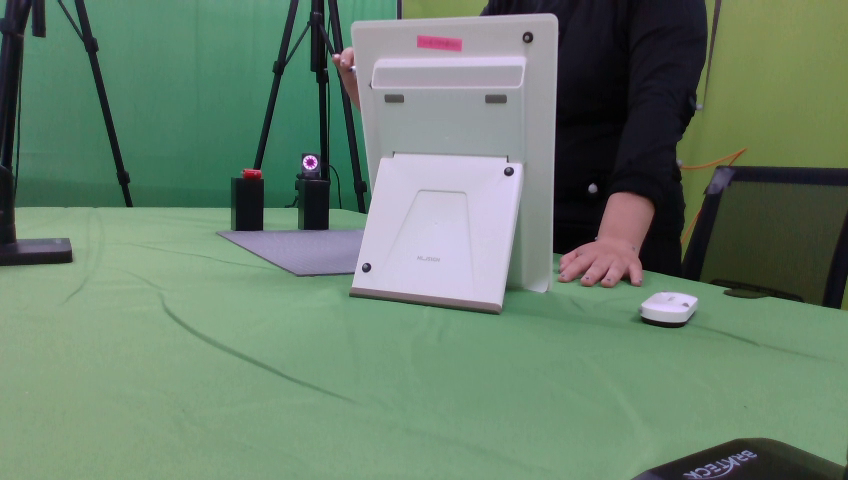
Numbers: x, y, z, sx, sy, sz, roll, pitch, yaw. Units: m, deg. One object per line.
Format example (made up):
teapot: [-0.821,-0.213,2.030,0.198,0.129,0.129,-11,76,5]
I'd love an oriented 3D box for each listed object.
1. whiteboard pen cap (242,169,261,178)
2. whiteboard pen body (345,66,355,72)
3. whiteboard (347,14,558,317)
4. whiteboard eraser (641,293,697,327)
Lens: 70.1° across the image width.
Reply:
whiteboard pen cap: [-0.326,-0.126,1.144,0.032,0.017,0.017,0,8,-36]
whiteboard pen body: [-0.073,-0.265,0.922,0.017,0.017,0.141,7,22,33]
whiteboard: [0.012,-0.056,0.609,0.216,0.305,0.144,5,27,20]
whiteboard eraser: [0.240,0.066,0.590,0.041,0.019,0.102,6,7,31]
